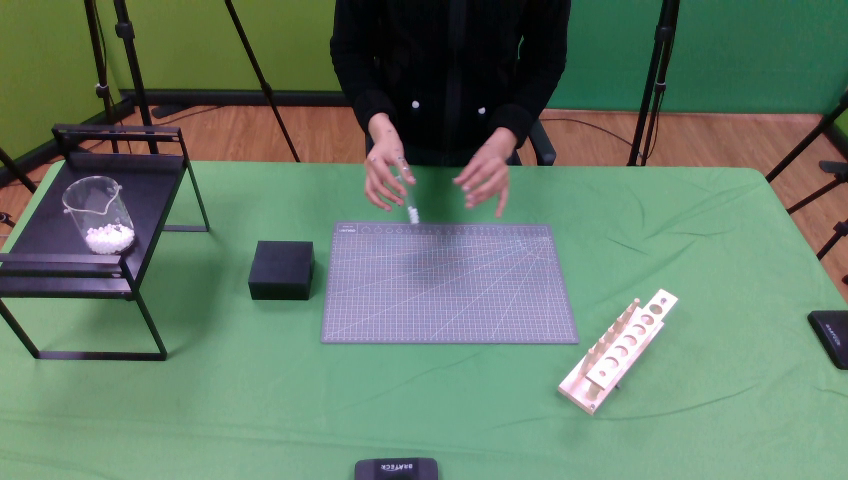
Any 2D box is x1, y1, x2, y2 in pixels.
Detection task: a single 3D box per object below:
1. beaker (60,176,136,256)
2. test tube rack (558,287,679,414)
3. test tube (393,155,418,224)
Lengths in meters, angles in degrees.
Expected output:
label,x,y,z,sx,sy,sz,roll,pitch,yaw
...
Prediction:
label,x,y,z,sx,sy,sz,roll,pitch,yaw
beaker,-0.470,-0.031,0.887,0.074,0.101,0.083,-31,56,-28
test tube rack,0.326,0.170,1.009,0.066,0.085,0.242,35,54,26
test tube,-0.031,-0.084,1.055,0.017,0.151,0.017,-8,43,7
